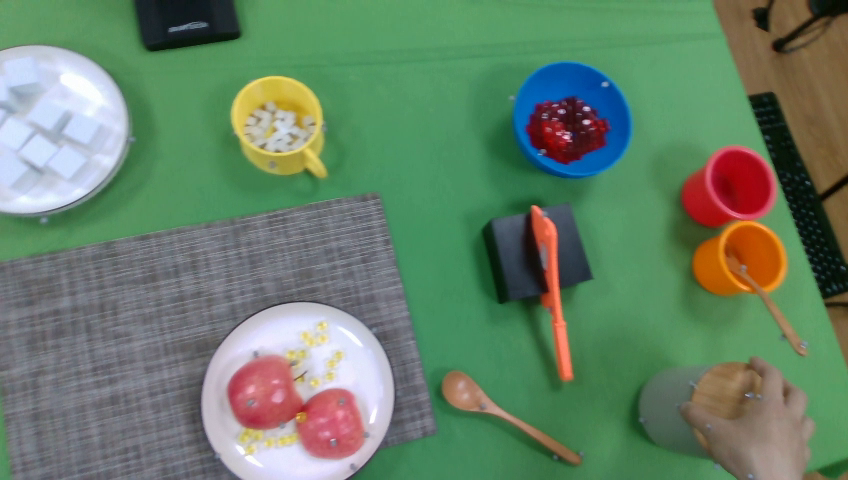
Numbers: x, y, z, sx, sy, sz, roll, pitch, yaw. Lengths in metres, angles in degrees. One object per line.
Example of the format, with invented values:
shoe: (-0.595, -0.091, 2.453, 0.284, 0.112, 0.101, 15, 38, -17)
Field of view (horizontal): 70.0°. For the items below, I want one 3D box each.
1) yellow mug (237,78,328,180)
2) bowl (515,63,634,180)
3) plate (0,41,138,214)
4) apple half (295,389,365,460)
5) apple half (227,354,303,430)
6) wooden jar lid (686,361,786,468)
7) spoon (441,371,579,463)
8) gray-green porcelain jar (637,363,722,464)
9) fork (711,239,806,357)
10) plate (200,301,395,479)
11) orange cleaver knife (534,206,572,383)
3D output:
yellow mug: (-0.159, -0.124, 0.728, 0.100, 0.064, 0.130, -41, 87, -15)
bowl: (0.181, -0.140, 0.777, 0.152, 0.077, 0.150, 2, 78, -8)
plate: (-0.438, -0.127, 0.700, 0.208, 0.039, 0.206, 2, 78, -8)
apple half: (-0.105, 0.205, 0.668, 0.081, 0.033, 0.081, 2, 74, -7)
apple half: (-0.174, 0.165, 0.656, 0.075, 0.053, 0.080, -15, 81, -9)
wooden jar lid: (0.325, 0.182, 0.637, 0.108, 0.021, 0.108, 1, 78, -6)
spoon: (0.103, 0.214, 0.716, 0.194, 0.022, 0.041, 31, 58, -1)
gray-green porcelain jar: (0.316, 0.197, 0.699, 0.106, 0.127, 0.105, 2, 77, -8)
fork: (0.398, 0.062, 0.729, 0.028, 0.019, 0.205, 5, 33, -8)
plate: (-0.138, 0.173, 0.676, 0.209, 0.038, 0.208, 2, 78, -9)
orange cleaver knife: (0.152, 0.065, 0.725, 0.012, 0.077, 0.212, -10, 103, -7)
